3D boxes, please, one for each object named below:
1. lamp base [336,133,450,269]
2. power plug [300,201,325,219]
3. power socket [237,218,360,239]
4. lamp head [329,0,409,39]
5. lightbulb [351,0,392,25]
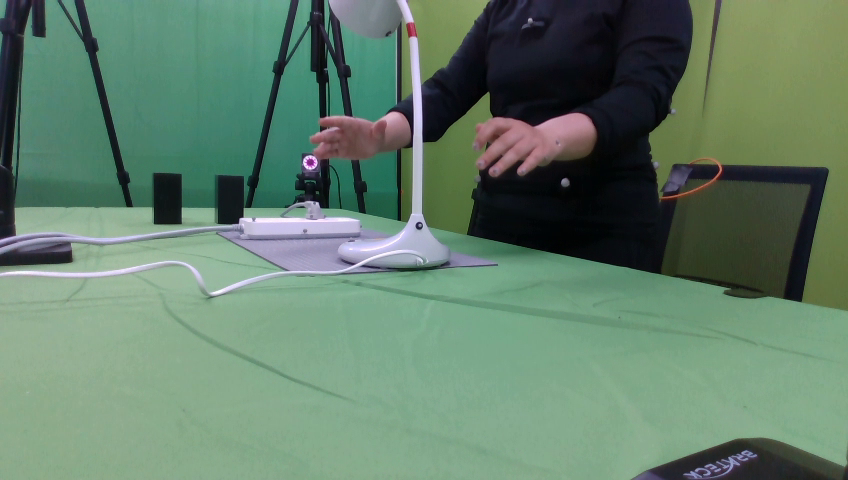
[{"bbox_3d":[-0.032,-0.057,0.830,0.161,0.180,0.178,-2,11,-34],"label":"lamp base"},{"bbox_3d":[-0.207,-0.046,1.120,0.035,0.052,0.072,2,4,-22],"label":"power plug"},{"bbox_3d":[-0.220,-0.023,1.080,0.228,0.032,0.072,-2,8,-33],"label":"power socket"},{"bbox_3d":[-0.062,-0.357,0.841,0.113,0.112,0.122,-1,-14,-29],"label":"lamp head"},{"bbox_3d":[-0.069,-0.355,0.866,0.060,0.059,0.107,0,-20,-20],"label":"lightbulb"}]
